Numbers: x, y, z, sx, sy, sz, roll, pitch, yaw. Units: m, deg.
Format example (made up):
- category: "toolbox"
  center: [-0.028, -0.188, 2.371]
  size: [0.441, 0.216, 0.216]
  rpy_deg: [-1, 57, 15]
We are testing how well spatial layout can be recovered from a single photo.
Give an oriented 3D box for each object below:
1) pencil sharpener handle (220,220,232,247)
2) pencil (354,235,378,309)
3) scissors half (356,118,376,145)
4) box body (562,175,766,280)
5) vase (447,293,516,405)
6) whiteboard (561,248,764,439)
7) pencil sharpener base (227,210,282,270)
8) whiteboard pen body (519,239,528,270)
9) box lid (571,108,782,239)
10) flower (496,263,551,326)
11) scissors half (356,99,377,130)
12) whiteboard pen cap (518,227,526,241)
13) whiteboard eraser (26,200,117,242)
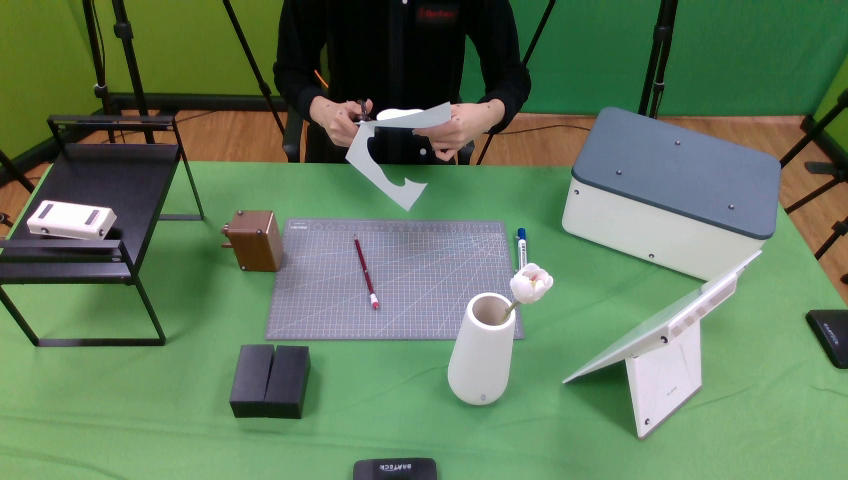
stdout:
- category: "pencil sharpener handle"
  center: [-0.362, -0.009, 1.105]
  size: [0.030, 0.068, 0.036]
  rpy_deg: [1, 52, 1]
- category: "pencil"
  center: [-0.112, 0.055, 1.143]
  size: [0.012, 0.012, 0.192]
  rpy_deg: [-10, 46, -13]
- category: "scissors half"
  center: [-0.100, -0.192, 1.049]
  size: [0.013, 0.175, 0.040]
  rpy_deg: [-1, 90, -15]
- category: "box body"
  center: [0.486, -0.088, 1.222]
  size: [0.363, 0.161, 0.253]
  rpy_deg: [20, 48, 15]
- category: "vase"
  center: [0.091, 0.169, 0.921]
  size: [0.098, 0.201, 0.097]
  rpy_deg: [3, 47, -3]
- category: "whiteboard"
  center: [0.386, 0.176, 0.905]
  size: [0.217, 0.306, 0.143]
  rpy_deg: [-26, 72, -27]
- category: "pencil sharpener base"
  center: [-0.311, 0.001, 1.112]
  size: [0.077, 0.107, 0.061]
  rpy_deg: [1, 47, 1]
- category: "whiteboard pen body"
  center: [0.193, 0.035, 1.181]
  size: [0.017, 0.017, 0.140]
  rpy_deg: [6, 48, 1]
- category: "box lid"
  center: [0.491, -0.139, 1.168]
  size: [0.370, 0.015, 0.262]
  rpy_deg: [20, 49, 15]
- category: "flower"
  center: [0.102, 0.121, 0.853]
  size: [0.044, 0.363, 0.038]
  rpy_deg: [-2, 64, -10]
- category: "scissors half"
  center: [-0.100, -0.213, 1.044]
  size: [0.013, 0.040, 0.174]
  rpy_deg: [-6, 25, -14]
- category: "whiteboard pen cap"
  center: [0.197, -0.009, 1.220]
  size: [0.018, 0.018, 0.033]
  rpy_deg: [5, 50, 1]
- category: "whiteboard eraser"
  center: [-0.532, -0.026, 0.919]
  size: [0.113, 0.042, 0.055]
  rpy_deg: [7, 45, 3]
